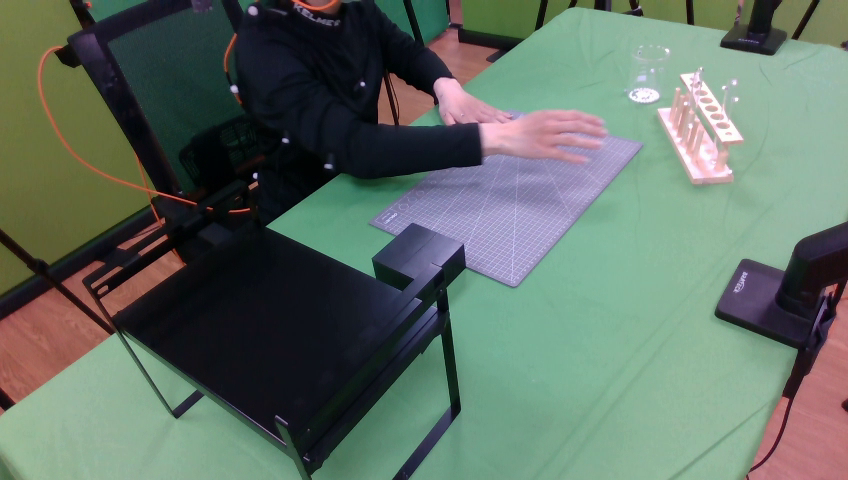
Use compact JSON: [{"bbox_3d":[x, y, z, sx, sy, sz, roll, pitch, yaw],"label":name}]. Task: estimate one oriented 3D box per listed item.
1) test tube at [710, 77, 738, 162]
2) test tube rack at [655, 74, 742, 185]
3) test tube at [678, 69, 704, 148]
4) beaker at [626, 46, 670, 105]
[{"bbox_3d":[0.498,-0.198,1.007,0.017,0.151,0.017,-3,37,3],"label":"test tube"},{"bbox_3d":[0.488,-0.205,1.093,0.067,0.085,0.241,-3,41,5],"label":"test tube rack"},{"bbox_3d":[0.465,-0.228,1.054,0.017,0.151,0.017,-4,41,4],"label":"test tube"},{"bbox_3d":[0.457,-0.335,1.240,0.084,0.101,0.073,-12,41,-6],"label":"beaker"}]
